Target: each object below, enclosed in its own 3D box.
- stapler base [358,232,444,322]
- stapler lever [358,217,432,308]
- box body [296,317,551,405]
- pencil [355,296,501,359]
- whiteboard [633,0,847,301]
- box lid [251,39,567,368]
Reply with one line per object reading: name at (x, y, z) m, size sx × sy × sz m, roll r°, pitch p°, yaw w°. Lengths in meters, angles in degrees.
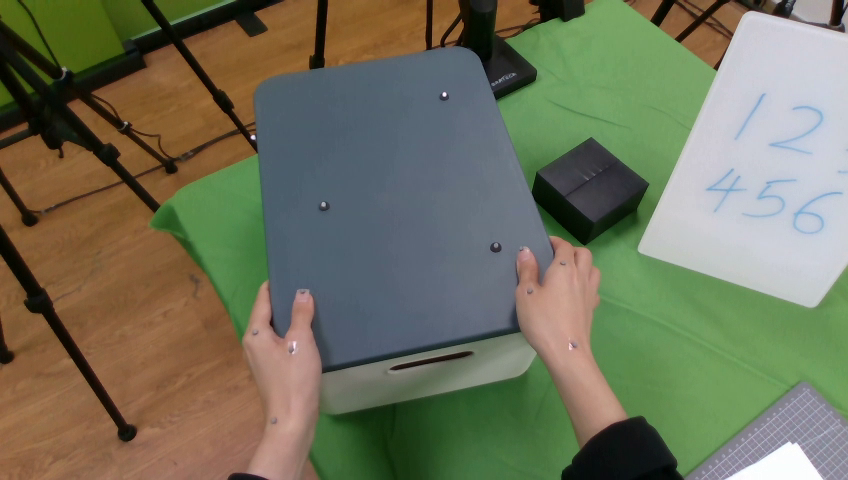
stapler base at (-0.027, 0.036, 0.713) m, size 0.041 × 0.025 × 0.130 m, roll 24°, pitch 62°, yaw 32°
stapler lever at (-0.033, 0.022, 0.693) m, size 0.026 × 0.040 × 0.118 m, roll 24°, pitch 61°, yaw 32°
box body at (-0.033, -0.021, 0.677) m, size 0.254 × 0.162 × 0.360 m, roll -10°, pitch 58°, yaw -7°
pencil at (0.009, 0.098, 0.682) m, size 0.194 × 0.012 × 0.012 m, roll -18°, pitch 58°, yaw -27°
whiteboard at (0.407, -0.114, 0.699) m, size 0.216 × 0.308 × 0.143 m, roll 19°, pitch 40°, yaw 11°
box lid at (-0.033, -0.065, 0.610) m, size 0.263 × 0.015 × 0.367 m, roll -11°, pitch 59°, yaw -6°
